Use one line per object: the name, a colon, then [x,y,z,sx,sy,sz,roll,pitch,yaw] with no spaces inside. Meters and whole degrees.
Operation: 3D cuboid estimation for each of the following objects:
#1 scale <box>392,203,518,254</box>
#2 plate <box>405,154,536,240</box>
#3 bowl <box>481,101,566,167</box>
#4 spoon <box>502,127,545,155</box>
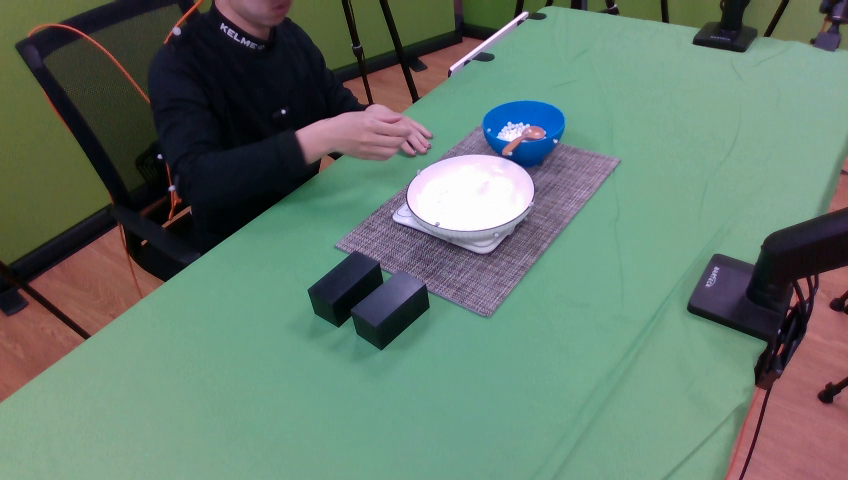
scale: [0.060,-0.050,1.006,0.199,0.032,0.149,22,48,30]
plate: [0.075,-0.067,0.973,0.209,0.038,0.208,-4,41,4]
bowl: [0.182,-0.186,1.111,0.151,0.077,0.150,-4,40,4]
spoon: [0.169,-0.173,1.046,0.041,0.021,0.194,21,25,20]
